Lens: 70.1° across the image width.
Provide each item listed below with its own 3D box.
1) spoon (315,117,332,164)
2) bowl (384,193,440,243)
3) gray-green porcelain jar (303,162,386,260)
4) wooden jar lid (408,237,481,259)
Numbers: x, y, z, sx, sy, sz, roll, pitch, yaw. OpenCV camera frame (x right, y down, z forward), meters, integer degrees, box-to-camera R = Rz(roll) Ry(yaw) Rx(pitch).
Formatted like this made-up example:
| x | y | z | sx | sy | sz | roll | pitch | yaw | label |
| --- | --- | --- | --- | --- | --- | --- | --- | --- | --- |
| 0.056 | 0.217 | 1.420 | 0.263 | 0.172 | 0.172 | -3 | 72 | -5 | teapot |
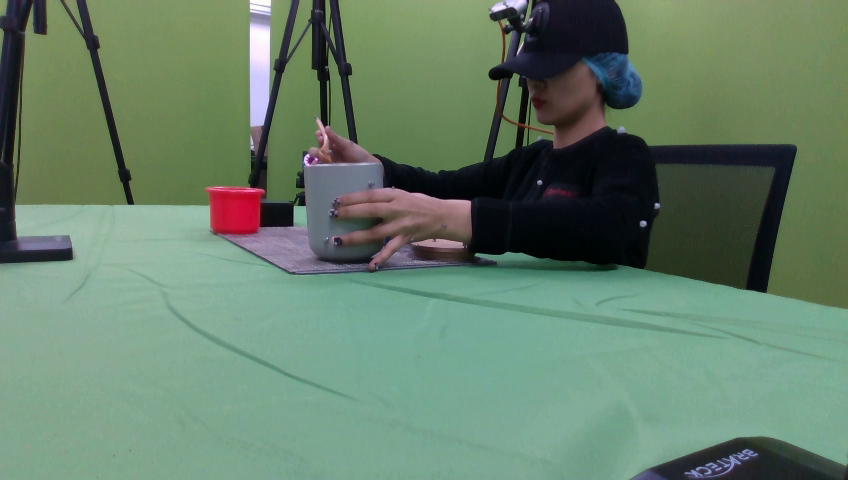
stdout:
| x | y | z | sx | sy | sz | roll | pitch | yaw | label |
| --- | --- | --- | --- | --- | --- | --- | --- | --- | --- |
| -0.184 | -0.183 | 1.108 | 0.021 | 0.042 | 0.193 | -36 | 36 | 13 | spoon |
| -0.050 | -0.038 | 1.033 | 0.151 | 0.077 | 0.151 | 3 | 7 | 0 | bowl |
| -0.106 | -0.041 | 0.816 | 0.106 | 0.126 | 0.106 | -2 | 8 | 1 | gray-green porcelain jar |
| 0.031 | 0.012 | 0.895 | 0.108 | 0.020 | 0.108 | 2 | 8 | 0 | wooden jar lid |
